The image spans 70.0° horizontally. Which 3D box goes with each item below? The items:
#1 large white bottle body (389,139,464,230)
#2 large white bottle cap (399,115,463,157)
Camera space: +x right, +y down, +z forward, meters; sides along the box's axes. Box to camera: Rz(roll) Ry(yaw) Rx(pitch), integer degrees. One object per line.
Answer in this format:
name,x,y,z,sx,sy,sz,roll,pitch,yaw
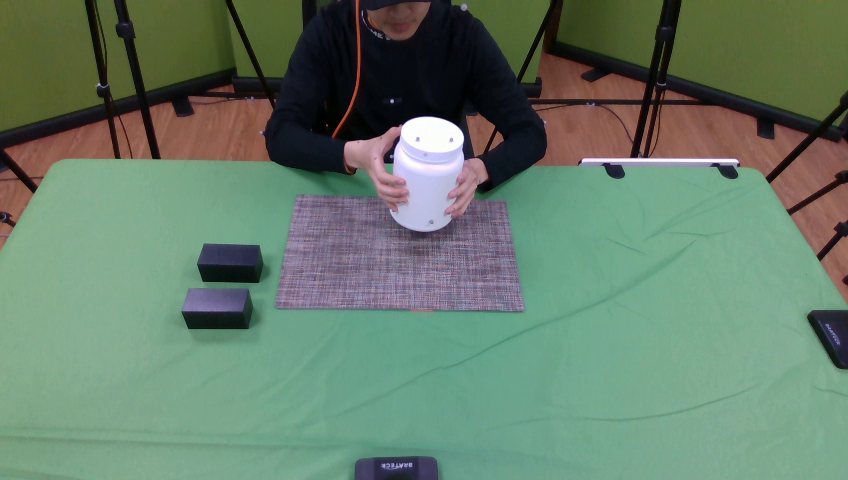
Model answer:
large white bottle body,0.004,-0.125,1.145,0.131,0.185,0.130,5,43,-4
large white bottle cap,0.012,-0.188,1.087,0.115,0.018,0.114,5,42,-4
